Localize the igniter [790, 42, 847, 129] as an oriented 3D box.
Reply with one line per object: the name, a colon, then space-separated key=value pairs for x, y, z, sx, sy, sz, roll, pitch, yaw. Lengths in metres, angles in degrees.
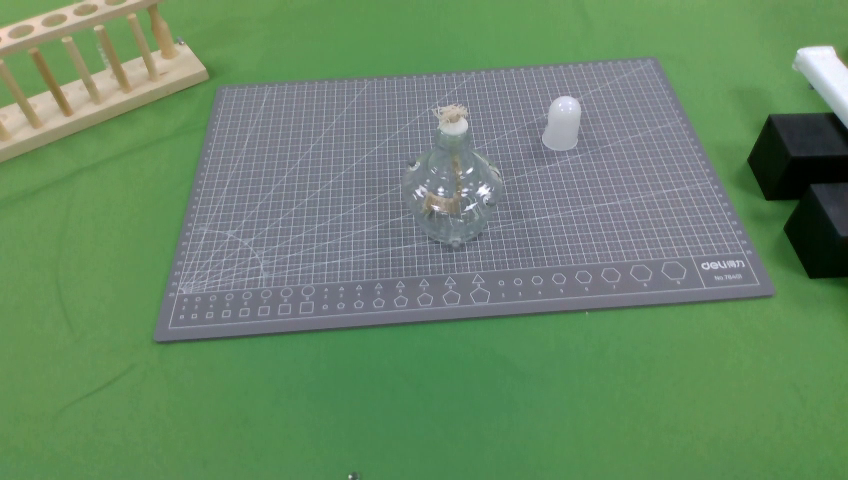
igniter: x=0.343 y=-0.063 z=0.442 sx=0.057 sy=0.025 sz=0.273 roll=-5 pitch=49 yaw=2

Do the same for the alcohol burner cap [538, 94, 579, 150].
alcohol burner cap: x=0.121 y=-0.107 z=0.536 sx=0.034 sy=0.048 sz=0.033 roll=0 pitch=50 yaw=1

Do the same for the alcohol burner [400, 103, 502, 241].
alcohol burner: x=0.021 y=-0.054 z=0.451 sx=0.078 sy=0.120 sz=0.077 roll=0 pitch=52 yaw=0

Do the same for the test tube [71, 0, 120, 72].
test tube: x=-0.320 y=-0.227 z=0.561 sx=0.017 sy=0.152 sz=0.017 roll=-4 pitch=42 yaw=4

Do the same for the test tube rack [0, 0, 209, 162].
test tube rack: x=-0.343 y=-0.159 z=0.575 sx=0.242 sy=0.086 sz=0.066 roll=-29 pitch=55 yaw=-20
